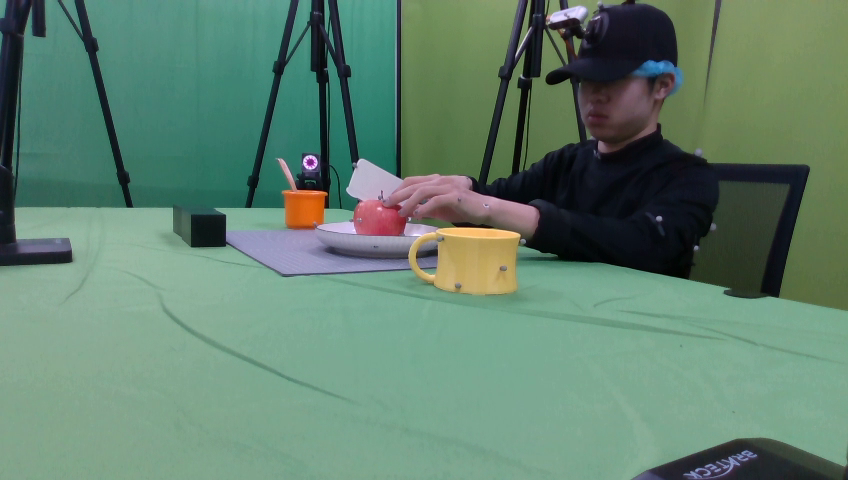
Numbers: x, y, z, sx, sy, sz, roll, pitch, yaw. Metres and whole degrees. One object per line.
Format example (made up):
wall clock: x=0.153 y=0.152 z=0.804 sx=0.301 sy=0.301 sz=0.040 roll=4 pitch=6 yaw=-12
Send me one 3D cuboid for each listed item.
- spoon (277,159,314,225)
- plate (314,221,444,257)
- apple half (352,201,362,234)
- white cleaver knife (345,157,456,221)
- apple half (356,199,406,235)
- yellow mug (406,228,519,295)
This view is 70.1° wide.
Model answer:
spoon: x=-0.272 y=-0.103 z=1.260 sx=0.042 sy=0.193 sz=0.021 roll=-5 pitch=-34 yaw=-33
plate: x=-0.067 y=-0.002 z=0.948 sx=0.209 sy=0.038 sz=0.209 roll=3 pitch=7 yaw=0
apple half: x=-0.090 y=-0.028 z=0.934 sx=0.032 sy=0.081 sz=0.082 roll=11 pitch=10 yaw=34
white cleaver knife: x=-0.032 y=-0.066 z=0.983 sx=0.021 sy=0.066 sz=0.288 roll=17 pitch=-1 yaw=36
apple half: x=-0.058 y=-0.024 z=0.912 sx=0.053 sy=0.074 sz=0.081 roll=14 pitch=7 yaw=35
yellow mug: x=0.044 y=0.022 z=0.707 sx=0.131 sy=0.064 sz=0.100 roll=2 pitch=7 yaw=5
